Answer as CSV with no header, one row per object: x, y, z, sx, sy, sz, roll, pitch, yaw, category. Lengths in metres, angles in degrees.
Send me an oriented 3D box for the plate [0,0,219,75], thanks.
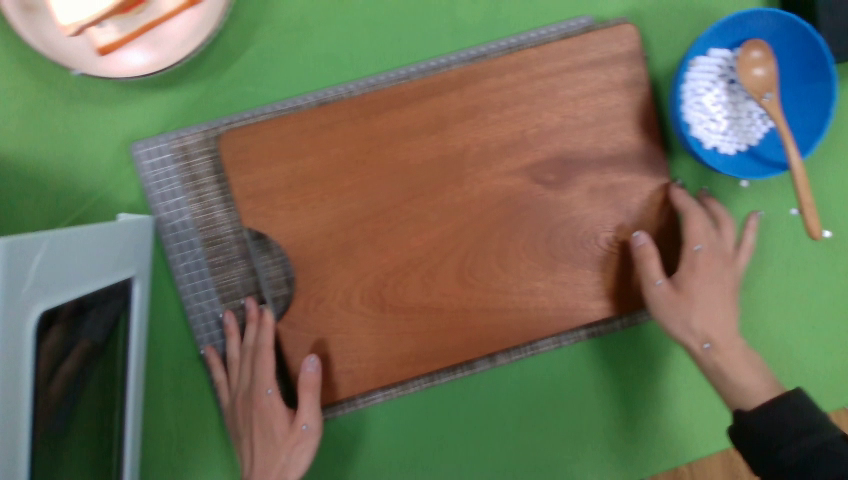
-0.275,-0.247,0.522,0.208,0.039,0.208,-1,97,-6,plate

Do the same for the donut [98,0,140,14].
-0.269,-0.237,0.494,0.099,0.048,0.099,-2,100,-13,donut

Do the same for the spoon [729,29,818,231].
0.319,-0.101,0.547,0.042,0.022,0.192,-12,78,-11,spoon

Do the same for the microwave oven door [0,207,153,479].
-0.267,0.160,0.452,0.039,0.243,0.356,4,96,-5,microwave oven door

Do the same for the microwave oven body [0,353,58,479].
-0.487,0.175,0.436,0.326,0.259,0.443,-19,99,-4,microwave oven body

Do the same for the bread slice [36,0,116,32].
-0.272,-0.240,0.464,0.107,0.018,0.134,-34,93,0,bread slice

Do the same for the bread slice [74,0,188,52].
-0.282,-0.245,0.522,0.105,0.019,0.132,-31,99,-3,bread slice

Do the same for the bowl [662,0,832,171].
0.286,-0.140,0.570,0.151,0.076,0.151,-1,97,-5,bowl
